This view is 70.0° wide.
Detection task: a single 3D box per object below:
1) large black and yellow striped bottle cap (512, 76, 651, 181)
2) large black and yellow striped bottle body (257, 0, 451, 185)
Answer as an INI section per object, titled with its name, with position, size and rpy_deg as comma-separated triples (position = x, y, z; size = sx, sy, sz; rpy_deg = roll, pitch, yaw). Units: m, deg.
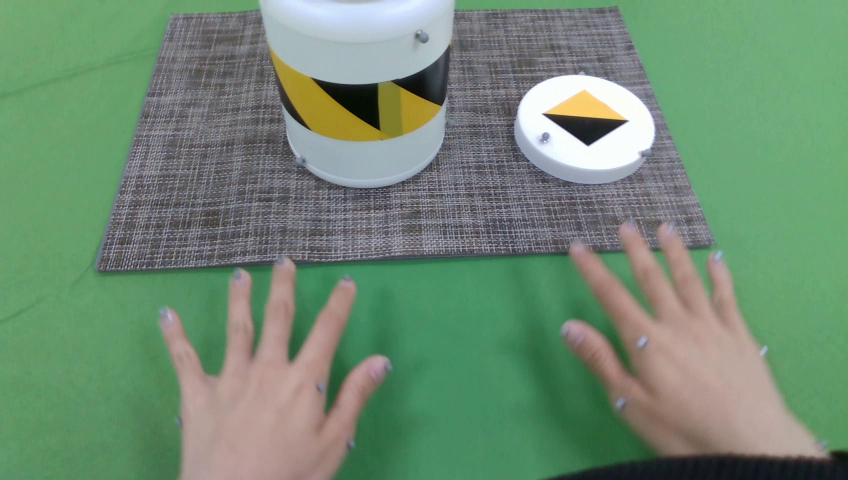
[large black and yellow striped bottle cap]
position = 0.133, -0.097, 0.513
size = 0.115, 0.019, 0.114
rpy_deg = 2, 54, -2
[large black and yellow striped bottle body]
position = -0.047, -0.144, 0.435
size = 0.131, 0.185, 0.129
rpy_deg = 1, 54, -1
